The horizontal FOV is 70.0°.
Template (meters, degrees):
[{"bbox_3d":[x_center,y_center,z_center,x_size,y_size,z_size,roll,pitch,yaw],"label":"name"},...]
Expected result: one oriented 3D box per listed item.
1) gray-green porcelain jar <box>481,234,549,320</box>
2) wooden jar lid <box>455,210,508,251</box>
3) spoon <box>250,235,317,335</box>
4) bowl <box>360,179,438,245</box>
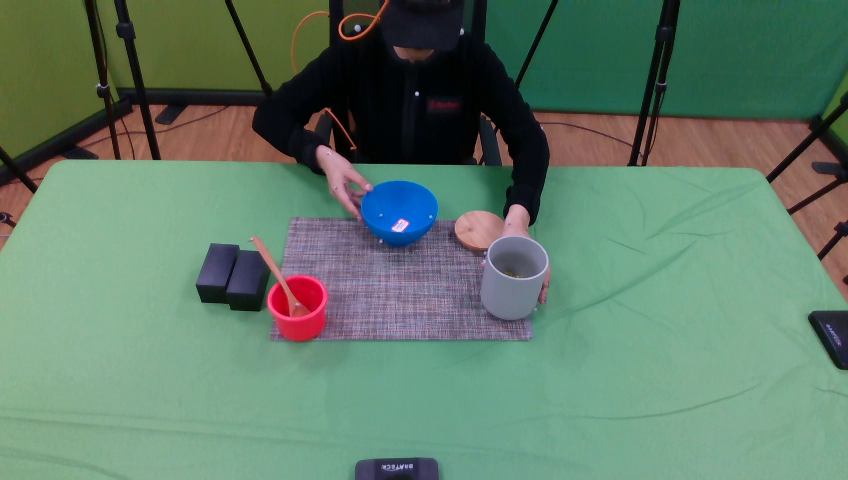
[{"bbox_3d":[0.156,0.070,1.064,0.106,0.127,0.105,2,46,-2],"label":"gray-green porcelain jar"},{"bbox_3d":[0.115,-0.018,1.220,0.108,0.021,0.107,3,47,-3],"label":"wooden jar lid"},{"bbox_3d":[-0.237,0.075,1.019,0.041,0.021,0.194,-32,100,-32],"label":"spoon"},{"bbox_3d":[-0.049,-0.042,1.190,0.151,0.077,0.150,2,46,-2],"label":"bowl"}]
